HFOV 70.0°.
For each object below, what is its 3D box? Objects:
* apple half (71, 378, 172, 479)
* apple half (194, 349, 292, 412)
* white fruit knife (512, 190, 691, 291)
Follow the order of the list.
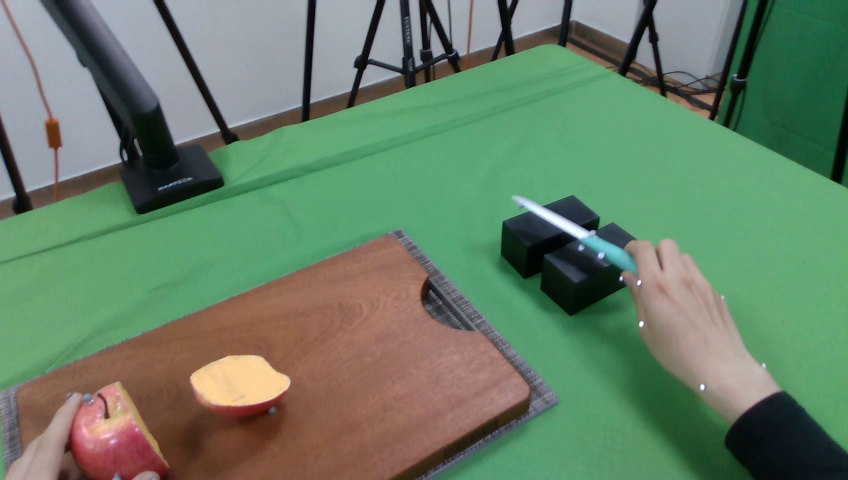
[{"bbox_3d":[-0.240,0.157,0.472,0.053,0.075,0.080,-33,52,-25],"label":"apple half"},{"bbox_3d":[-0.159,0.129,0.524,0.081,0.033,0.081,10,20,-3],"label":"apple half"},{"bbox_3d":[0.173,-0.004,0.622,0.205,0.016,0.027,33,35,28],"label":"white fruit knife"}]
